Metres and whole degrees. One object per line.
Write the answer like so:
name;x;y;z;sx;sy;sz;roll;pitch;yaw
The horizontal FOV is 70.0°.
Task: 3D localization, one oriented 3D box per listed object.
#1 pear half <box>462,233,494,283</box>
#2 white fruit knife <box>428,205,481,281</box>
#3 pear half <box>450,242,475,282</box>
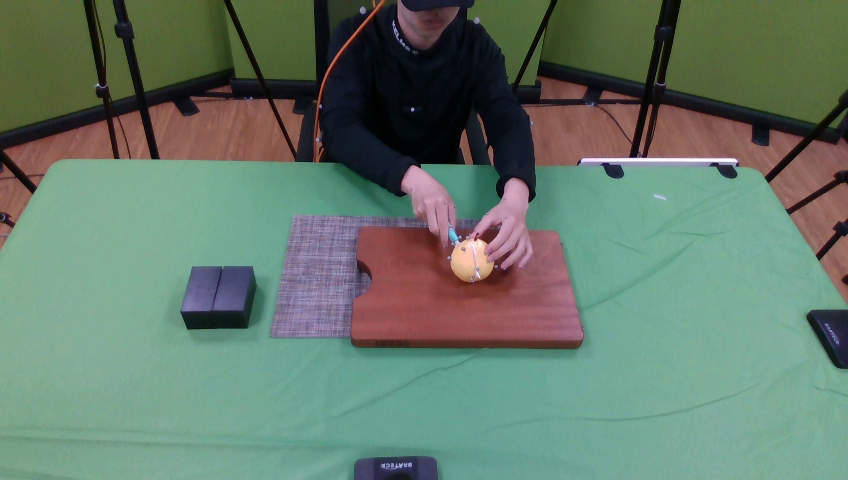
pear half;0.099;0.024;1.086;0.056;0.110;0.076;-20;54;-22
white fruit knife;0.056;0.001;1.113;0.016;0.027;0.206;-17;49;-19
pear half;0.064;0.041;1.081;0.031;0.088;0.070;-23;54;-20
